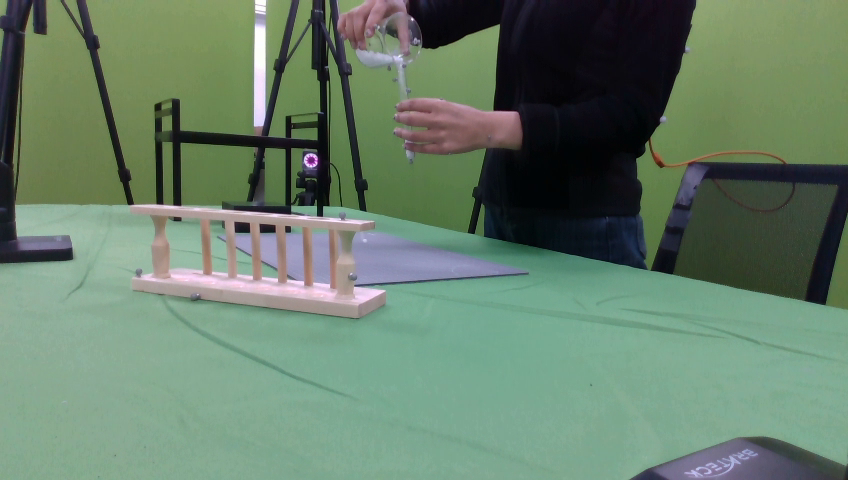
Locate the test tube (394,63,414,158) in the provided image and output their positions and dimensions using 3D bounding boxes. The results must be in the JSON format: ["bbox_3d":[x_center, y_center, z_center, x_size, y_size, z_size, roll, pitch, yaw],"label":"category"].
[{"bbox_3d":[-0.030,-0.200,0.933,0.017,0.150,0.017,-6,-6,0],"label":"test tube"}]

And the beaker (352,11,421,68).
[{"bbox_3d":[-0.064,-0.316,0.974,0.074,0.084,0.100,1,5,-37],"label":"beaker"}]

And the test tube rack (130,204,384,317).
[{"bbox_3d":[-0.163,0.013,0.589,0.242,0.085,0.067,4,8,17],"label":"test tube rack"}]
